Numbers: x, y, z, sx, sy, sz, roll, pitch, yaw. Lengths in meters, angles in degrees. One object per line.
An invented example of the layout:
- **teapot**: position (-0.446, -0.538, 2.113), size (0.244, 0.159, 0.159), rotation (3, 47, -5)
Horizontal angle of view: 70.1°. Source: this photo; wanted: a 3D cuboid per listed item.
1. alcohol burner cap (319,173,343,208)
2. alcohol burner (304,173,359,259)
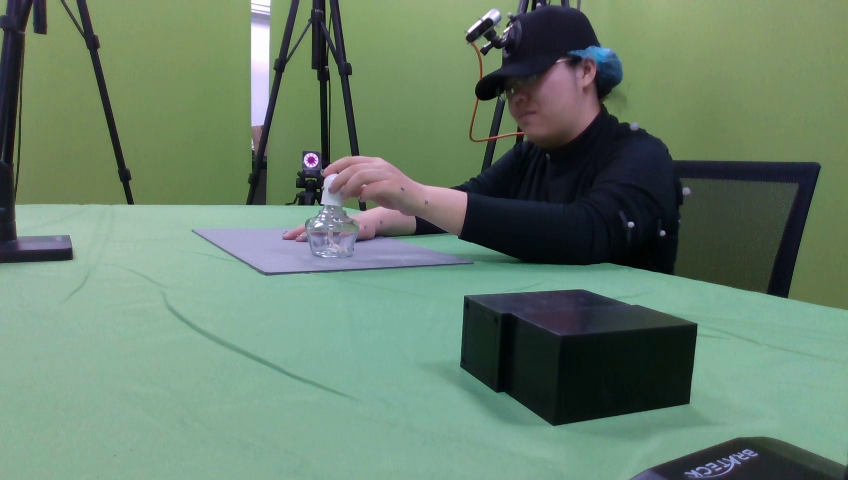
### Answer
- **alcohol burner cap**: position (-0.128, -0.070, 0.848), size (0.034, 0.048, 0.034), rotation (5, 3, 0)
- **alcohol burner**: position (-0.130, -0.034, 0.851), size (0.078, 0.119, 0.078), rotation (2, 5, 0)
